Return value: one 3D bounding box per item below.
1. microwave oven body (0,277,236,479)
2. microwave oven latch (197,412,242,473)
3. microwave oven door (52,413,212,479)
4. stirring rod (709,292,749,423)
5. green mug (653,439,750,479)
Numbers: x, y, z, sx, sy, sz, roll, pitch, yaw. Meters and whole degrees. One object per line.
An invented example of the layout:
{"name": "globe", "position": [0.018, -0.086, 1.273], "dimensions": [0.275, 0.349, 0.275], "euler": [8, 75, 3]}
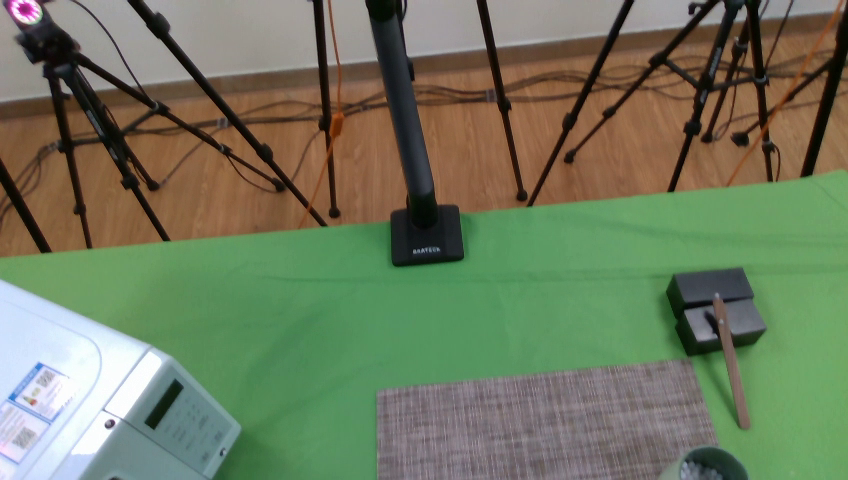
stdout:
{"name": "microwave oven body", "position": [-0.493, 0.306, 0.692], "dimensions": [0.324, 0.262, 0.439], "euler": [18, 59, 17]}
{"name": "microwave oven latch", "position": [-0.278, 0.269, 0.815], "dimensions": [0.030, 0.030, 0.079], "euler": [20, 60, 18]}
{"name": "microwave oven door", "position": [-0.378, 0.377, 0.624], "dimensions": [0.039, 0.246, 0.354], "euler": [17, 59, 18]}
{"name": "stirring rod", "position": [0.412, 0.157, 0.819], "dimensions": [0.014, 0.006, 0.175], "euler": [-11, 79, 11]}
{"name": "green mug", "position": [0.333, 0.302, 0.706], "dimensions": [0.092, 0.106, 0.124], "euler": [-26, 57, -13]}
